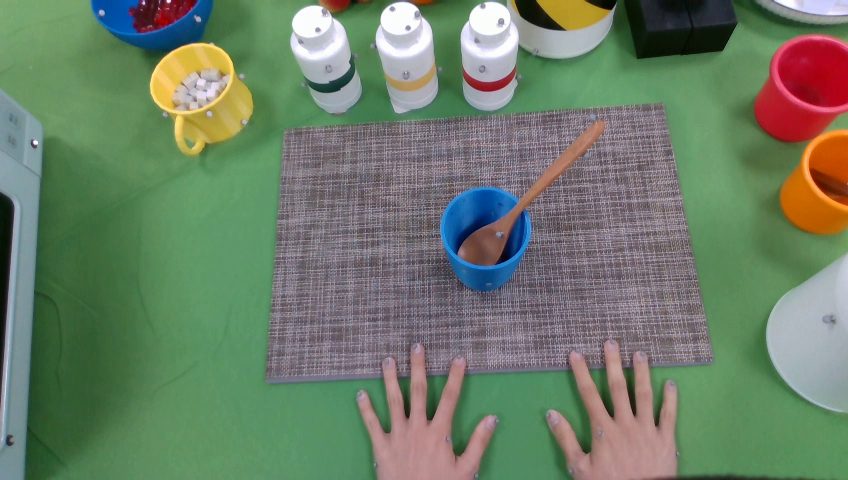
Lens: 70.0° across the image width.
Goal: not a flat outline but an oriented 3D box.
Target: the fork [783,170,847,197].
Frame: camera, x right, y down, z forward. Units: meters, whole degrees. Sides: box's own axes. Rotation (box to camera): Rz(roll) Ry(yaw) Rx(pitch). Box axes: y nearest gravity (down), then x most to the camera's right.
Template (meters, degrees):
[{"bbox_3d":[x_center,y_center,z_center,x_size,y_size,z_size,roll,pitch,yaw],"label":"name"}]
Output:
[{"bbox_3d":[0.440,-0.043,0.567,0.028,0.019,0.205,-37,26,-14],"label":"fork"}]

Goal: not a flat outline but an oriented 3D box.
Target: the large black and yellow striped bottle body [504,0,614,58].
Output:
[{"bbox_3d":[0.157,-0.312,0.681,0.131,0.185,0.130,-2,68,5],"label":"large black and yellow striped bottle body"}]

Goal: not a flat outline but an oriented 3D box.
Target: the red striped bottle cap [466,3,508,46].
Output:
[{"bbox_3d":[0.066,-0.226,0.632,0.044,0.018,0.044,0,67,1],"label":"red striped bottle cap"}]

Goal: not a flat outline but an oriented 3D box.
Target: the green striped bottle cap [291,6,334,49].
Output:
[{"bbox_3d":[-0.120,-0.228,0.651,0.044,0.020,0.044,-1,67,4],"label":"green striped bottle cap"}]

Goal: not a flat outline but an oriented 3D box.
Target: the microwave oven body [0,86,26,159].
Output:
[{"bbox_3d":[-0.599,0.035,0.566,0.326,0.262,0.438,-12,68,0],"label":"microwave oven body"}]

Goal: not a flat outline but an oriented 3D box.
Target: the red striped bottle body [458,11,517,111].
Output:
[{"bbox_3d":[0.073,-0.205,0.681,0.063,0.120,0.062,-4,66,8],"label":"red striped bottle body"}]

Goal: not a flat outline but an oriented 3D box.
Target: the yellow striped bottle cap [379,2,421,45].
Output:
[{"bbox_3d":[-0.026,-0.230,0.643,0.044,0.019,0.044,-1,69,4],"label":"yellow striped bottle cap"}]

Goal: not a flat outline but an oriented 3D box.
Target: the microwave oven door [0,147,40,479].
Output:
[{"bbox_3d":[-0.448,0.041,0.545,0.039,0.245,0.353,-12,68,1],"label":"microwave oven door"}]

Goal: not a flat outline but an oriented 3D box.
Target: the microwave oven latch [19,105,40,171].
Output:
[{"bbox_3d":[-0.478,-0.119,0.721,0.030,0.030,0.078,-11,69,0],"label":"microwave oven latch"}]

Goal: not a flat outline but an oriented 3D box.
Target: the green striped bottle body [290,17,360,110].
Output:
[{"bbox_3d":[-0.115,-0.209,0.699,0.063,0.120,0.062,-2,68,5],"label":"green striped bottle body"}]

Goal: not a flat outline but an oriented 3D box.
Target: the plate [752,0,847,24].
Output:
[{"bbox_3d":[0.476,-0.346,0.744,0.209,0.038,0.207,-2,69,4],"label":"plate"}]

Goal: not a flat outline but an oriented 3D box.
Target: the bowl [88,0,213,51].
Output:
[{"bbox_3d":[-0.333,-0.297,0.776,0.151,0.077,0.150,-1,69,4],"label":"bowl"}]

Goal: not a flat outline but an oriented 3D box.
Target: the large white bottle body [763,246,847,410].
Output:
[{"bbox_3d":[0.388,0.067,0.509,0.130,0.186,0.129,-2,67,5],"label":"large white bottle body"}]

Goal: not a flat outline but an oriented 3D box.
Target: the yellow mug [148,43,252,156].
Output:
[{"bbox_3d":[-0.269,-0.162,0.723,0.100,0.064,0.130,6,70,7],"label":"yellow mug"}]

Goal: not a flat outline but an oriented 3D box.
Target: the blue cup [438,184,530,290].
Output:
[{"bbox_3d":[0.058,0.005,0.604,0.092,0.101,0.092,-1,66,3],"label":"blue cup"}]

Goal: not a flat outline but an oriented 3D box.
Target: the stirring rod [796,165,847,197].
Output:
[{"bbox_3d":[0.412,-0.042,0.575,0.014,0.006,0.174,-10,25,1],"label":"stirring rod"}]

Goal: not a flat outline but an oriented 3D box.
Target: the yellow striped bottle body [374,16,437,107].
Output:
[{"bbox_3d":[-0.021,-0.211,0.691,0.063,0.121,0.062,-2,68,5],"label":"yellow striped bottle body"}]

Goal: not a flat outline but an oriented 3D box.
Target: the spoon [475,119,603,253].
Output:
[{"bbox_3d":[0.094,-0.036,0.558,0.194,0.022,0.041,-50,61,33],"label":"spoon"}]
